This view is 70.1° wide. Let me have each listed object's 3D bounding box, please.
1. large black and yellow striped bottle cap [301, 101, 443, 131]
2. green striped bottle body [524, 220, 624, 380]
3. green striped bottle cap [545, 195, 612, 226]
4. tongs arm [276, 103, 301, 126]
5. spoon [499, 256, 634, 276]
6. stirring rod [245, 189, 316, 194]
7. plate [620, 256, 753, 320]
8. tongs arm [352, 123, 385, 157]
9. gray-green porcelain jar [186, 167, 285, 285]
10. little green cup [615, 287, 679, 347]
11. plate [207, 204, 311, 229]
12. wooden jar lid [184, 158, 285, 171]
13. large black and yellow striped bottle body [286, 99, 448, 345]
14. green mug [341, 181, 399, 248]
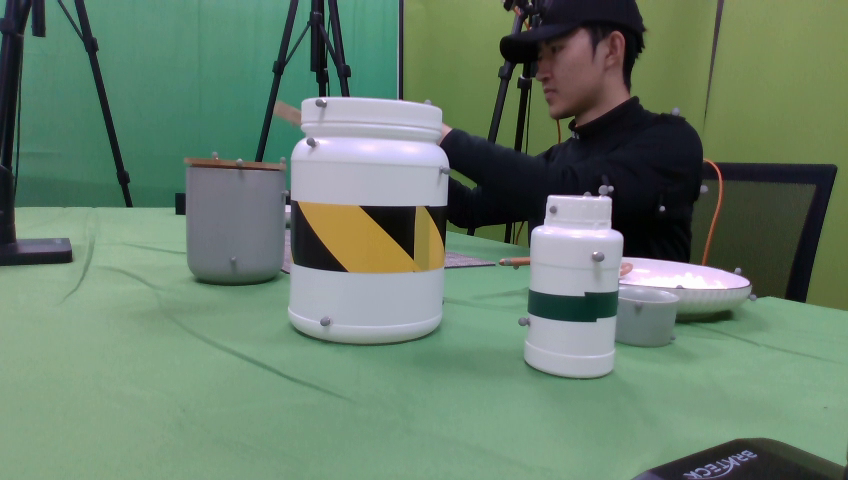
[{"bbox_3d":[-0.042,-0.100,0.491,0.115,0.019,0.115,1,8,0],"label":"large black and yellow striped bottle cap"},{"bbox_3d":[0.104,0.031,0.422,0.063,0.119,0.063,2,8,0],"label":"green striped bottle body"},{"bbox_3d":[0.106,-0.020,0.414,0.044,0.020,0.044,2,4,0],"label":"green striped bottle cap"},{"bbox_3d":[-0.179,-0.213,1.199,0.050,0.026,0.386,15,3,14],"label":"tongs arm"},{"bbox_3d":[0.162,0.027,0.679,0.195,0.021,0.041,8,2,-30],"label":"spoon"},{"bbox_3d":[-0.351,-0.120,1.489,0.177,0.014,0.006,-3,5,-29],"label":"stirring rod"},{"bbox_3d":[0.234,0.049,0.651,0.209,0.038,0.209,2,7,0],"label":"plate"},{"bbox_3d":[-0.106,-0.192,1.187,0.028,0.028,0.387,11,3,2],"label":"tongs arm"},{"bbox_3d":[-0.212,-0.017,0.682,0.106,0.126,0.106,2,7,0],"label":"gray-green porcelain jar"},{"bbox_3d":[0.180,0.064,0.506,0.061,0.038,0.061,1,8,0],"label":"little green cup"},{"bbox_3d":[-0.342,-0.050,1.259,0.208,0.039,0.207,2,7,0],"label":"plate"},{"bbox_3d":[-0.210,-0.078,0.674,0.108,0.020,0.108,4,6,0],"label":"wooden jar lid"},{"bbox_3d":[-0.047,-0.018,0.501,0.131,0.184,0.130,2,7,0],"label":"large black and yellow striped bottle body"},{"bbox_3d":[-0.089,-0.044,0.997,0.093,0.105,0.125,1,7,-8],"label":"green mug"}]
